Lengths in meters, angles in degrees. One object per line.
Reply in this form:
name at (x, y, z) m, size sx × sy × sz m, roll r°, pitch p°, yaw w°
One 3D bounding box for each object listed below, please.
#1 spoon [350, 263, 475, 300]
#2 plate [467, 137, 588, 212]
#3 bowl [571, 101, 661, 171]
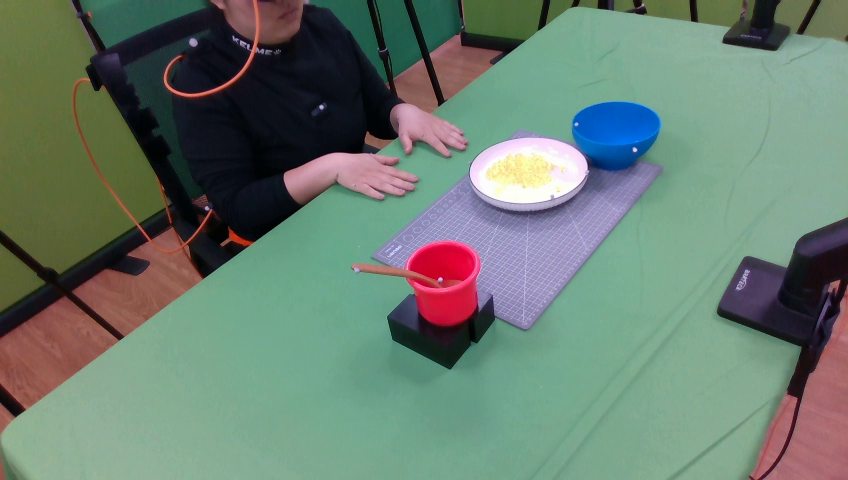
spoon at (-0.010, 0.048, 0.754) m, size 0.195 × 0.021 × 0.041 m, roll 19°, pitch 26°, yaw -39°
plate at (0.181, -0.112, 1.064) m, size 0.207 × 0.039 × 0.206 m, roll -5°, pitch 40°, yaw 5°
bowl at (0.339, -0.177, 1.079) m, size 0.151 × 0.077 × 0.150 m, roll -5°, pitch 40°, yaw 5°
